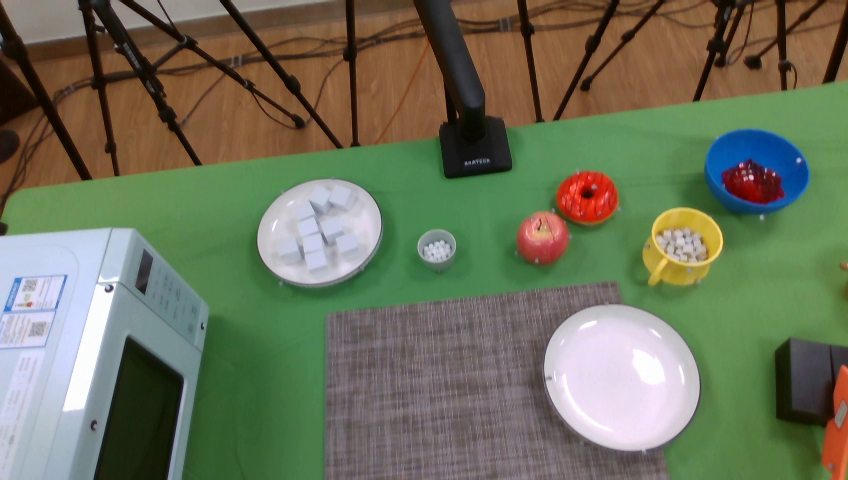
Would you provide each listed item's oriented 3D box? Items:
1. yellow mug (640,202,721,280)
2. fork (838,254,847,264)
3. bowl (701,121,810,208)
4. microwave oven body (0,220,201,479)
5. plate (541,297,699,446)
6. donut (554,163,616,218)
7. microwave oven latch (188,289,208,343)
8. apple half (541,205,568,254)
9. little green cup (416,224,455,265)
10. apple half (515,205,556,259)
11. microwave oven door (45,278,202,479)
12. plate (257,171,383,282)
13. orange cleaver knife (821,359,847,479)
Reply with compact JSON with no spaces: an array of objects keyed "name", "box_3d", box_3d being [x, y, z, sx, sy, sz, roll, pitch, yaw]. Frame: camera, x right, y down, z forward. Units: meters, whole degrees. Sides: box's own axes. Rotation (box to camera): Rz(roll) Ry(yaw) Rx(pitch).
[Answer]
[{"name":"yellow mug","box_3d":[0.374,0.011,0.908,0.099,0.064,0.130,38,72,24]},{"name":"fork","box_3d":[0.605,0.038,0.819,0.209,0.018,0.028,13,52,-37]},{"name":"bowl","box_3d":[0.507,-0.105,0.953,0.151,0.077,0.150,-3,61,5]},{"name":"microwave oven body","box_3d":[-0.500,0.231,0.756,0.326,0.262,0.437,-4,61,3]},{"name":"plate","box_3d":[0.265,0.179,0.835,0.209,0.038,0.207,-3,60,5]},{"name":"donut","box_3d":[0.262,-0.081,0.985,0.099,0.048,0.098,-3,63,6]},{"name":"microwave oven latch","box_3d":[-0.348,0.116,0.918,0.030,0.030,0.078,-2,61,5]},{"name":"apple half","box_3d":[0.205,-0.018,0.937,0.033,0.082,0.080,-16,60,2]},{"name":"little green cup","box_3d":[0.019,0.010,0.962,0.061,0.039,0.061,-3,60,5]},{"name":"apple half","box_3d":[0.168,-0.007,0.937,0.053,0.075,0.080,-16,64,2]},{"name":"microwave oven door","box_3d":[-0.355,0.255,0.722,0.039,0.246,0.352,-4,60,4]},{"name":"plate","box_3d":[-0.169,-0.020,0.999,0.207,0.039,0.206,-3,60,5]},{"name":"orange cleaver knife","box_3d":[0.506,0.254,0.746,0.012,0.077,0.211,10,92,15]}]
